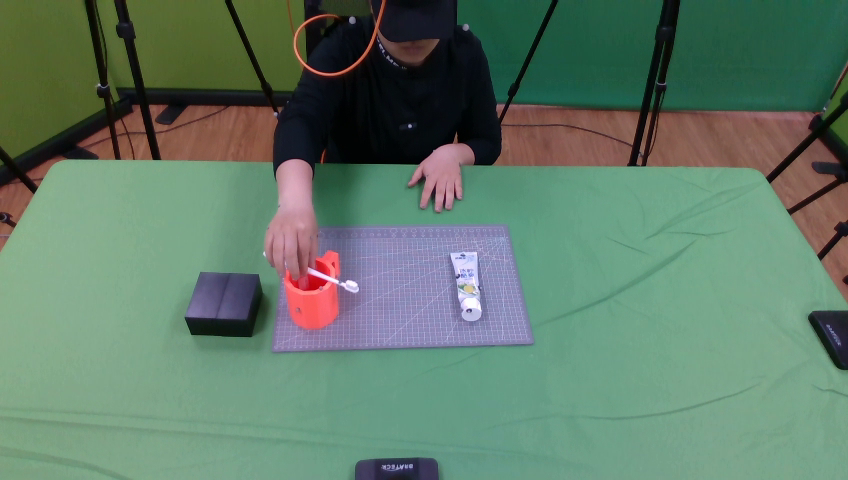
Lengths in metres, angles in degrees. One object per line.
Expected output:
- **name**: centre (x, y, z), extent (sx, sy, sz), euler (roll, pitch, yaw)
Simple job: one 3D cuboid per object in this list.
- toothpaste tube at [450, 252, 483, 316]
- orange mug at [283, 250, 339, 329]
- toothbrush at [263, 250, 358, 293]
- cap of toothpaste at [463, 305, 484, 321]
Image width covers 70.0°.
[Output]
- **toothpaste tube**: centre (0.084, 0.077, 1.122), extent (0.055, 0.035, 0.164), euler (3, 41, -8)
- **orange mug**: centre (-0.186, 0.078, 1.052), extent (0.083, 0.101, 0.126), euler (20, 52, 15)
- **toothbrush**: centre (-0.190, 0.050, 1.006), extent (0.181, 0.017, 0.014), euler (20, 55, 14)
- **cap of toothpaste**: centre (0.087, 0.127, 1.063), extent (0.037, 0.037, 0.011), euler (2, 39, -2)
